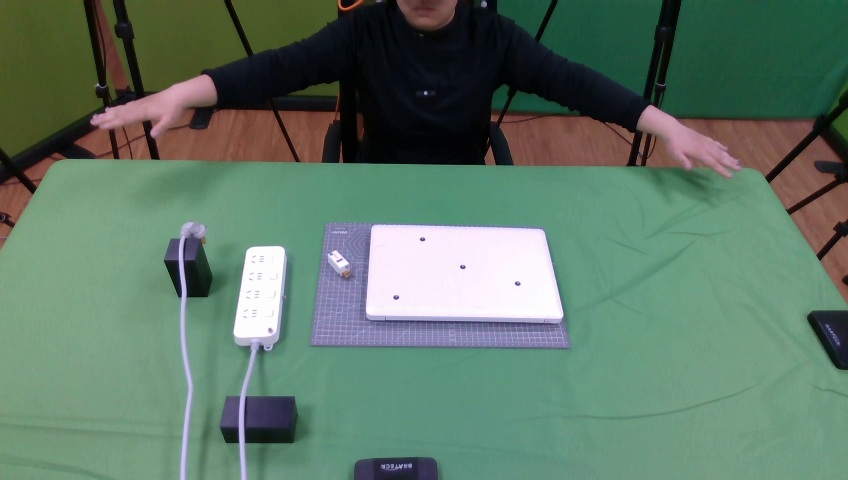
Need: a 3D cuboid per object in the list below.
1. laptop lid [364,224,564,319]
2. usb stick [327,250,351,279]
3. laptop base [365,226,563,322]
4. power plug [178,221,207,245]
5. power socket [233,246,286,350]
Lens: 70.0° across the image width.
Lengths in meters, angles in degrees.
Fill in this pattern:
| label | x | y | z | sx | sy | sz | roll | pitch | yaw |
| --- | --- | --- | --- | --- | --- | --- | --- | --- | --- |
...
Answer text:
| label | x | y | z | sx | sy | sz | roll | pitch | yaw |
| --- | --- | --- | --- | --- | --- | --- | --- | --- | --- |
| laptop lid | 0.070 | 0.053 | 1.138 | 0.357 | 0.013 | 0.240 | 3 | 44 | -2 |
| usb stick | -0.158 | 0.047 | 1.133 | 0.021 | 0.027 | 0.059 | -29 | 58 | -26 |
| laptop base | 0.070 | 0.063 | 1.145 | 0.354 | 0.023 | 0.234 | 1 | 42 | -3 |
| power plug | -0.413 | -0.003 | 1.069 | 0.035 | 0.053 | 0.072 | -1 | 41 | 24 |
| power socket | -0.290 | 0.094 | 1.077 | 0.072 | 0.033 | 0.225 | -2 | 46 | -5 |
